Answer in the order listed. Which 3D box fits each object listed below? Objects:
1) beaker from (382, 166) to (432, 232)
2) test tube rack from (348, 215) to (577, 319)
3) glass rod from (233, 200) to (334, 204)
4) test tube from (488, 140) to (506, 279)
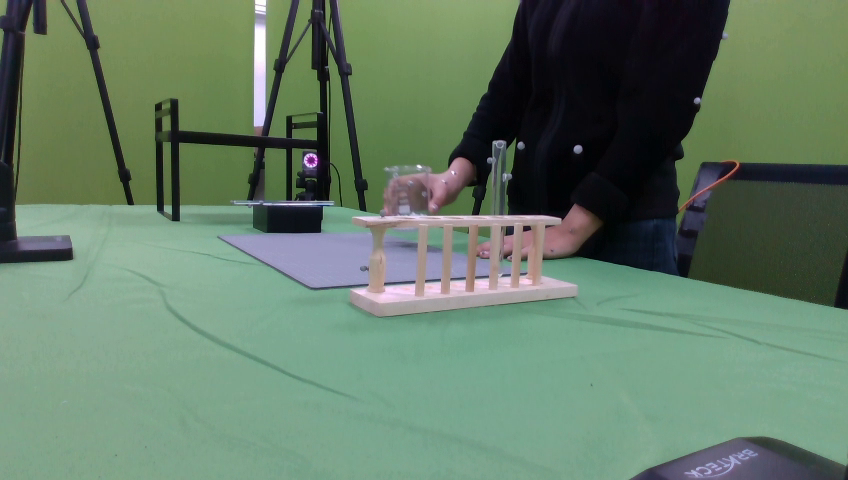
[{"bbox_3d":[-0.023,-0.067,0.971,0.084,0.100,0.073,-8,13,-27],"label":"beaker"},{"bbox_3d":[0.048,0.021,0.619,0.244,0.085,0.066,-2,9,-31],"label":"test tube rack"},{"bbox_3d":[-0.262,-0.071,1.146,0.201,0.008,0.008,-2,9,-34],"label":"glass rod"},{"bbox_3d":[0.079,-0.032,0.654,0.017,0.150,0.017,1,2,0],"label":"test tube"}]
